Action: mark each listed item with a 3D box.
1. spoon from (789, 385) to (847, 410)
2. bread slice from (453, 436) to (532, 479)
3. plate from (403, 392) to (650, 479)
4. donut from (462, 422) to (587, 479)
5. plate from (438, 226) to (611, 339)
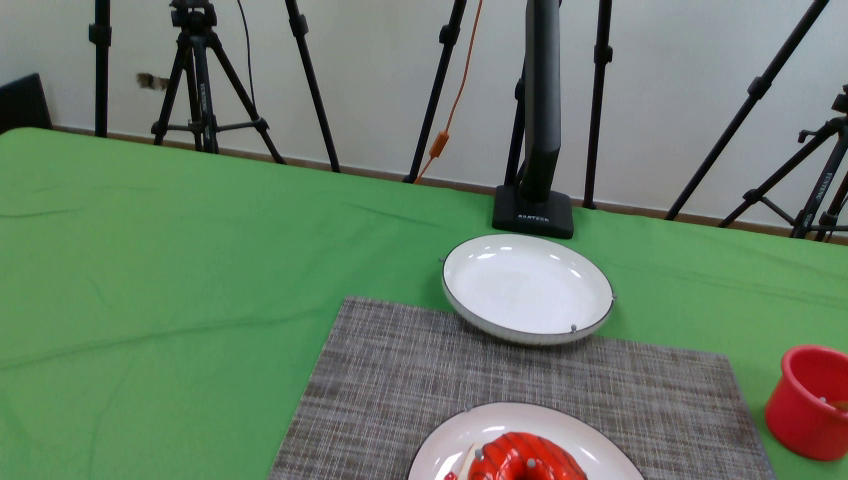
[{"bbox_3d":[0.378,0.146,0.554,0.041,0.021,0.195,21,-6,19],"label":"spoon"},{"bbox_3d":[0.082,0.219,0.494,0.131,0.019,0.104,15,35,15],"label":"bread slice"},{"bbox_3d":[0.085,0.215,0.495,0.209,0.038,0.207,4,35,-2],"label":"plate"},{"bbox_3d":[0.078,0.188,0.473,0.099,0.048,0.098,3,35,-2],"label":"donut"},{"bbox_3d":[0.119,0.053,0.739,0.208,0.039,0.205,5,33,-3],"label":"plate"}]
